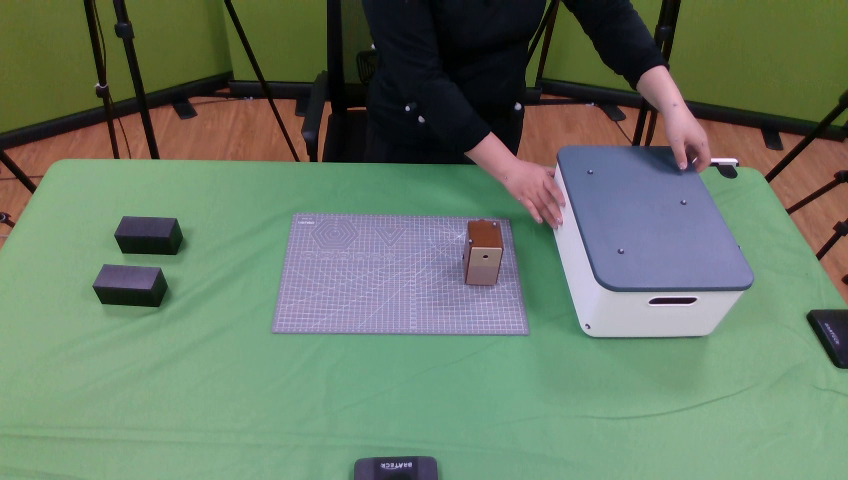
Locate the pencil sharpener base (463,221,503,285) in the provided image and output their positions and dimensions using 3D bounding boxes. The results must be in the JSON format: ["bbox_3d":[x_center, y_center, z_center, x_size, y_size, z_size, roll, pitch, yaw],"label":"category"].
[{"bbox_3d":[0.107,0.024,1.119,0.061,0.107,0.076,1,45,-2],"label":"pencil sharpener base"}]

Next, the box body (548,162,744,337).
[{"bbox_3d":[0.391,-0.001,1.130,0.254,0.161,0.361,-1,46,-4],"label":"box body"}]

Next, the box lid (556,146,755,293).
[{"bbox_3d":[0.394,-0.051,1.075,0.263,0.015,0.369,0,46,-4],"label":"box lid"}]

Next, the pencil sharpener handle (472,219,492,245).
[{"bbox_3d":[0.104,-0.021,1.145,0.036,0.068,0.030,6,45,-8],"label":"pencil sharpener handle"}]
